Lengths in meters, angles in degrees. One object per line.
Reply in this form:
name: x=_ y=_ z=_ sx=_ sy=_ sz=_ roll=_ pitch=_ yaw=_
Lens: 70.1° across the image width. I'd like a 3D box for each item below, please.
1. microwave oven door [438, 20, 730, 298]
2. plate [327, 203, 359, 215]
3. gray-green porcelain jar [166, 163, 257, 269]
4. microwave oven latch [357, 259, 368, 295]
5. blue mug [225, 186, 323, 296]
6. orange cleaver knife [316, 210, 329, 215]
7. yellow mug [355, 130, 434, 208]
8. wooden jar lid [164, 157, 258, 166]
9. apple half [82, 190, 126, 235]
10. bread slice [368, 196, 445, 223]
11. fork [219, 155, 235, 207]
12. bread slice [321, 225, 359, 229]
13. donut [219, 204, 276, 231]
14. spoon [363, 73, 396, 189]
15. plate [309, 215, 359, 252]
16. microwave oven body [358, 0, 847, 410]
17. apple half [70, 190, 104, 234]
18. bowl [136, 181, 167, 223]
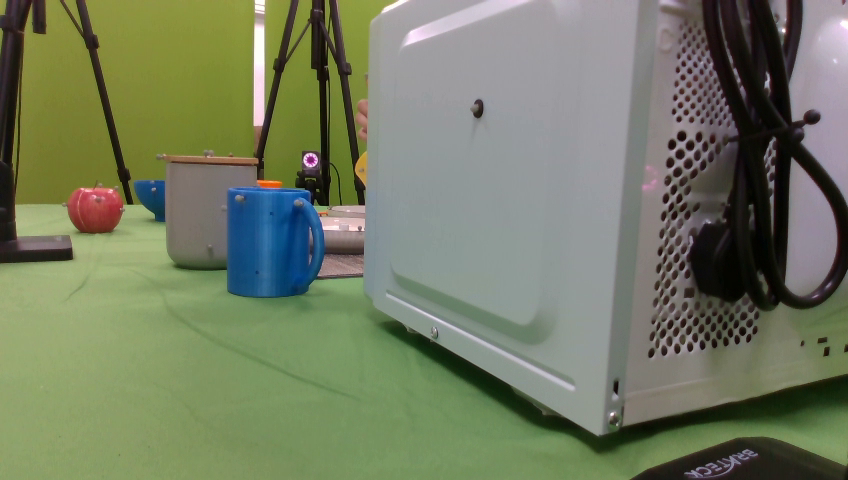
microwave oven door: x=0.181 y=-0.076 z=0.618 sx=0.358 sy=0.243 sz=0.039 roll=-2 pitch=8 yaw=-28
plate: x=-0.102 y=-0.053 z=1.299 sx=0.209 sy=0.038 sz=0.209 roll=2 pitch=8 yaw=0
gray-green porcelain jar: x=-0.263 y=-0.031 z=0.754 sx=0.106 sy=0.126 sz=0.106 roll=2 pitch=7 yaw=0
microwave oven latch: x=-0.019 y=0.031 z=0.529 sx=0.079 sy=0.029 sz=0.030 roll=-1 pitch=7 yaw=-26
blue mug: x=-0.148 y=0.000 z=0.618 sx=0.116 sy=0.106 sz=0.083 roll=7 pitch=9 yaw=33
orange cleaver knife: x=-0.259 y=-0.064 z=1.423 sx=0.212 sy=0.012 sz=0.077 roll=-4 pitch=3 yaw=-30
yellow mug: x=-0.035 y=-0.110 z=0.893 sx=0.130 sy=0.064 sz=0.100 roll=-39 pitch=-23 yaw=28
wooden jar lid: x=-0.261 y=-0.093 z=0.746 sx=0.108 sy=0.020 sz=0.108 roll=0 pitch=9 yaw=0
apple half: x=-0.516 y=-0.046 z=0.994 sx=0.032 sy=0.081 sz=0.081 roll=0 pitch=6 yaw=26
bread slice: x=-0.040 y=-0.057 z=1.142 sx=0.107 sy=0.018 sz=0.133 roll=-8 pitch=-8 yaw=-39
fork: x=-0.459 y=-0.134 z=1.415 sx=0.028 sy=0.018 sz=0.207 roll=-1 pitch=-34 yaw=-25
bread slice: x=-0.124 y=-0.008 z=0.938 sx=0.131 sy=0.019 sz=0.105 roll=5 pitch=8 yaw=32
donut: x=-0.316 y=-0.039 z=1.083 sx=0.099 sy=0.048 sz=0.099 roll=3 pitch=7 yaw=0
spoon: x=-0.069 y=-0.170 z=0.933 sx=0.021 sy=0.193 sz=0.042 roll=-13 pitch=-12 yaw=18
plate: x=-0.130 y=-0.011 z=0.945 sx=0.208 sy=0.039 sz=0.207 roll=2 pitch=8 yaw=0
microwave oven body: x=0.210 y=-0.051 z=0.471 sx=0.444 sy=0.260 sz=0.324 roll=-1 pitch=7 yaw=-28
apple half: x=-0.552 y=-0.048 z=1.010 sx=0.053 sy=0.074 sz=0.081 roll=-1 pitch=10 yaw=26
bowl: x=-0.497 y=-0.076 z=1.221 sx=0.151 sy=0.077 sz=0.151 roll=2 pitch=8 yaw=0
